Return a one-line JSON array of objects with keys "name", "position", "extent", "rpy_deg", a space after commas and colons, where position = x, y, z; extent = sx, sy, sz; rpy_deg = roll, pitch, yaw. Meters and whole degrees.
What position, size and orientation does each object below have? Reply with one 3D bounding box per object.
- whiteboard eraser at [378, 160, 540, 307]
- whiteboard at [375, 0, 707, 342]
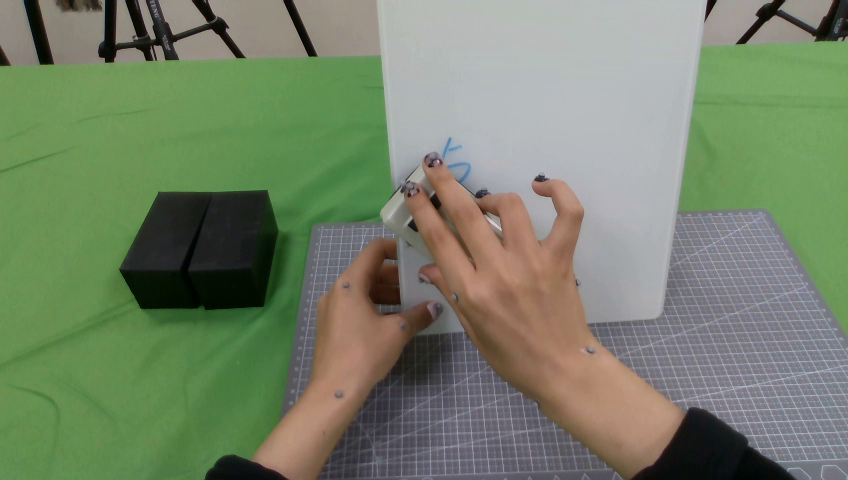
[{"name": "whiteboard eraser", "position": [0.026, -0.004, 0.438], "extent": [0.113, 0.055, 0.041], "rpy_deg": [37, 11, -16]}, {"name": "whiteboard", "position": [0.080, -0.090, 0.495], "extent": [0.217, 0.307, 0.142], "rpy_deg": [-3, 25, -1]}]
